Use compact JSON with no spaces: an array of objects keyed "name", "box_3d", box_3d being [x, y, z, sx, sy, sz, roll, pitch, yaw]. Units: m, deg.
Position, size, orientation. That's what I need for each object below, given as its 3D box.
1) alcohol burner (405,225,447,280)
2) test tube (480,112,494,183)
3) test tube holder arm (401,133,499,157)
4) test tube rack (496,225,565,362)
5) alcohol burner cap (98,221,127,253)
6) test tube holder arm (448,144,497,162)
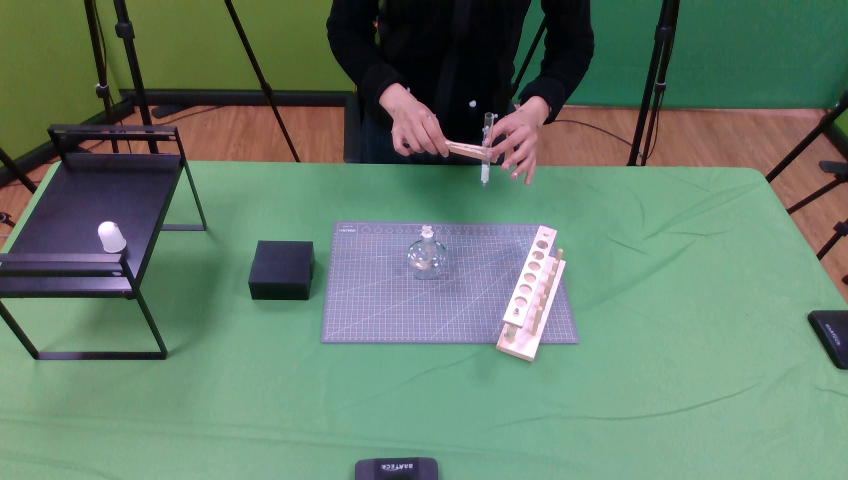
[{"name":"alcohol burner","box_3d":[0.005,0.017,1.115,0.078,0.120,0.077,1,47,-1]},{"name":"test tube","box_3d":[0.108,-0.157,1.053,0.017,0.151,0.017,-1,48,1]},{"name":"test tube holder arm","box_3d":[0.044,-0.169,1.078,0.178,0.015,0.013,12,46,14]},{"name":"test tube rack","box_3d":[0.200,0.089,1.081,0.066,0.085,0.241,19,48,13]},{"name":"alcohol burner cap","box_3d":[-0.468,-0.007,0.905,0.034,0.048,0.033,3,46,-3]},{"name":"test tube holder arm","box_3d":[0.084,-0.155,1.062,0.087,0.015,0.010,18,48,18]}]
